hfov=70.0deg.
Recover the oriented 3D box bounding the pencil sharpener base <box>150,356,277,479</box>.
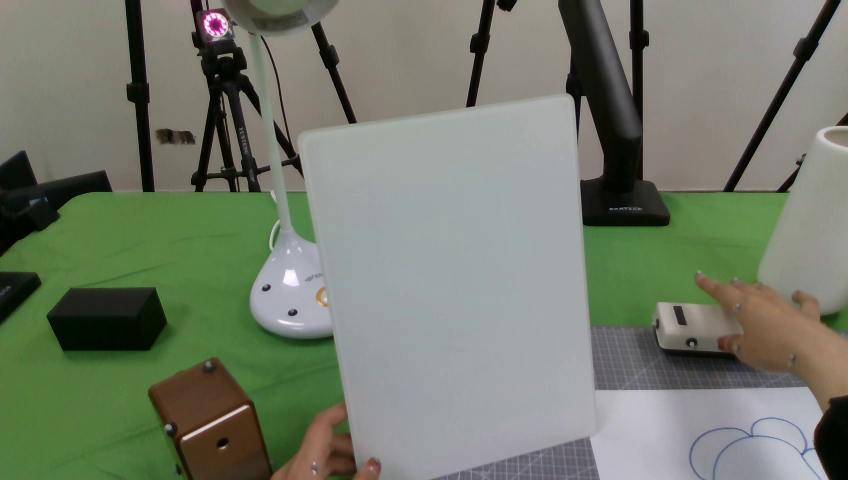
[{"bbox_3d":[-0.172,0.161,0.497,0.061,0.108,0.076,-25,38,-30],"label":"pencil sharpener base"}]

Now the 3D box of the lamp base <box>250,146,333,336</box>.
[{"bbox_3d":[-0.139,-0.009,0.694,0.161,0.182,0.177,-29,38,-34],"label":"lamp base"}]

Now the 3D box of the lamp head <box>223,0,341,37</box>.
[{"bbox_3d":[-0.133,-0.246,0.500,0.112,0.113,0.122,-21,61,-26],"label":"lamp head"}]

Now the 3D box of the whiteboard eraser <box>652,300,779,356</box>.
[{"bbox_3d":[0.298,0.092,0.626,0.112,0.042,0.055,2,31,8],"label":"whiteboard eraser"}]

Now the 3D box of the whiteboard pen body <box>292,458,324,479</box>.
[{"bbox_3d":[-0.124,0.224,0.473,0.017,0.017,0.140,13,32,24],"label":"whiteboard pen body"}]

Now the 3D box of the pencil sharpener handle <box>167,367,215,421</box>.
[{"bbox_3d":[-0.202,0.129,0.526,0.036,0.068,0.030,-32,42,-25],"label":"pencil sharpener handle"}]

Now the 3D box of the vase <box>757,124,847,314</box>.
[{"bbox_3d":[0.431,-0.018,0.648,0.098,0.201,0.097,-1,33,1],"label":"vase"}]

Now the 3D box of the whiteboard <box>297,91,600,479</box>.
[{"bbox_3d":[0.019,0.036,0.550,0.217,0.306,0.143,-11,14,-11],"label":"whiteboard"}]

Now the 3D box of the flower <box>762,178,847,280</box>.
[{"bbox_3d":[0.437,-0.079,0.590,0.044,0.364,0.038,-11,50,-24],"label":"flower"}]
